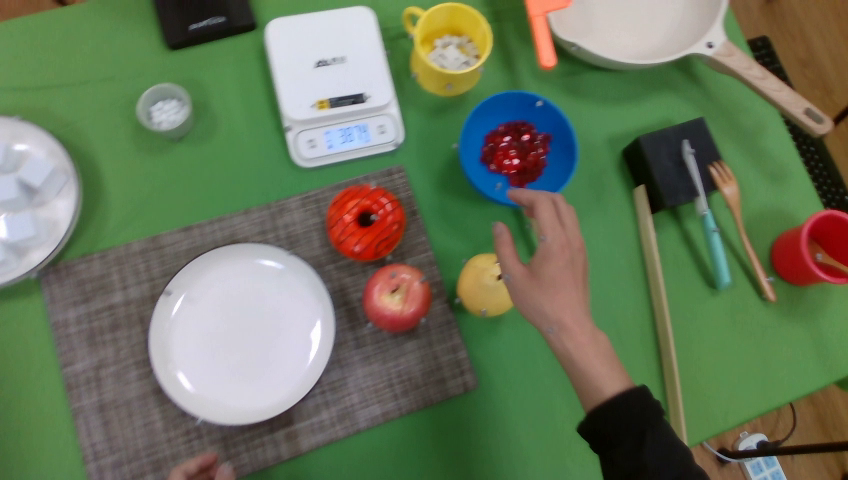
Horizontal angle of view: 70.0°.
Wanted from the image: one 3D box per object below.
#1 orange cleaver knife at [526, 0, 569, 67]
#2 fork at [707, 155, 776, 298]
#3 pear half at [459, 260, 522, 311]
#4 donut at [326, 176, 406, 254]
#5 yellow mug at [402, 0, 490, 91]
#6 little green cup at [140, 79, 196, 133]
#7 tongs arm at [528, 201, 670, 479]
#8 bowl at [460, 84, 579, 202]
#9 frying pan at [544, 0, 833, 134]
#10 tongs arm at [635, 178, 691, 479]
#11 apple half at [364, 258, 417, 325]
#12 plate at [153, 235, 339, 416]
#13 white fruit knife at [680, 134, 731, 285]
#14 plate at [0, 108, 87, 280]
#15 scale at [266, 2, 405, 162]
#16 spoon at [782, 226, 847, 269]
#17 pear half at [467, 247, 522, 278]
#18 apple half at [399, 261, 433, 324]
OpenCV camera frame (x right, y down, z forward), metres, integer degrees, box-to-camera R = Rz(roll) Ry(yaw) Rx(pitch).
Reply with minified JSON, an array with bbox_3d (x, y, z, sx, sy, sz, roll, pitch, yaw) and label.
[{"bbox_3d":[0.154,-0.329,0.797,0.077,0.012,0.210,-13,81,-7],"label":"orange cleaver knife"},{"bbox_3d":[0.425,-0.016,0.805,0.028,0.018,0.208,-27,98,-13],"label":"fork"},{"bbox_3d":[0.080,0.056,0.722,0.076,0.110,0.055,13,77,0],"label":"pear half"},{"bbox_3d":[-0.072,-0.031,0.751,0.099,0.048,0.098,1,79,-5],"label":"donut"},{"bbox_3d":[0.021,-0.268,0.805,0.130,0.064,0.100,39,77,3],"label":"yellow mug"},{"bbox_3d":[-0.316,-0.164,0.755,0.061,0.039,0.061,2,77,-6],"label":"little green cup"},{"bbox_3d":[0.221,0.124,0.764,0.051,0.026,0.383,-17,82,-14],"label":"tongs arm"},{"bbox_3d":[0.113,-0.113,0.779,0.152,0.077,0.150,1,79,-7],"label":"bowl"},{"bbox_3d":[0.350,-0.304,0.835,0.486,0.103,0.306,43,77,11],"label":"frying pan"},{"bbox_3d":[0.303,0.108,0.781,0.028,0.028,0.385,-1,79,-15],"label":"tongs arm"},{"bbox_3d":[-0.044,0.058,0.721,0.053,0.075,0.080,15,79,0],"label":"apple half"},{"bbox_3d":[-0.203,0.098,0.710,0.209,0.038,0.208,2,78,-7],"label":"plate"},{"bbox_3d":[0.367,-0.039,0.794,0.016,0.027,0.207,-20,96,-11],"label":"white fruit knife"},{"bbox_3d":[-0.501,-0.051,0.708,0.208,0.039,0.206,2,78,-7],"label":"plate"},{"bbox_3d":[-0.116,-0.210,0.793,0.149,0.031,0.200,-13,81,-9],"label":"scale"},{"bbox_3d":[0.538,0.037,0.767,0.041,0.022,0.191,-23,37,-12],"label":"spoon"},{"bbox_3d":[0.088,0.025,0.740,0.070,0.088,0.031,13,77,-2],"label":"pear half"},{"bbox_3d":[-0.006,0.067,0.722,0.033,0.081,0.081,15,76,0],"label":"apple half"}]
